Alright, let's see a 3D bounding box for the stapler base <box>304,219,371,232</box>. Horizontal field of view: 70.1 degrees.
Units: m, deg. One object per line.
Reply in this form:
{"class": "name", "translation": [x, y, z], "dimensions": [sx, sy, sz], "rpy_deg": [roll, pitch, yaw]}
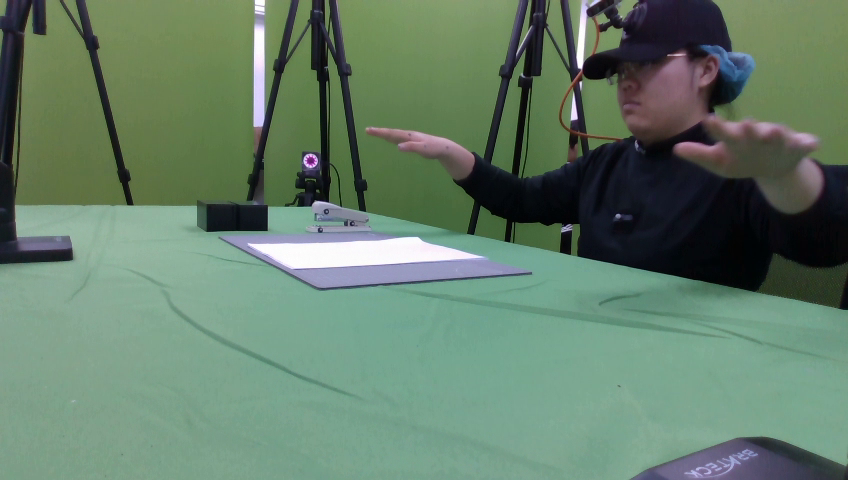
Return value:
{"class": "stapler base", "translation": [-0.169, -0.029, 1.186], "dimensions": [0.131, 0.024, 0.041], "rpy_deg": [0, 9, -33]}

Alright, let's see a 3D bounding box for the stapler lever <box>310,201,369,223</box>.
{"class": "stapler lever", "translation": [-0.166, -0.055, 1.184], "dimensions": [0.119, 0.040, 0.026], "rpy_deg": [1, 9, -33]}
